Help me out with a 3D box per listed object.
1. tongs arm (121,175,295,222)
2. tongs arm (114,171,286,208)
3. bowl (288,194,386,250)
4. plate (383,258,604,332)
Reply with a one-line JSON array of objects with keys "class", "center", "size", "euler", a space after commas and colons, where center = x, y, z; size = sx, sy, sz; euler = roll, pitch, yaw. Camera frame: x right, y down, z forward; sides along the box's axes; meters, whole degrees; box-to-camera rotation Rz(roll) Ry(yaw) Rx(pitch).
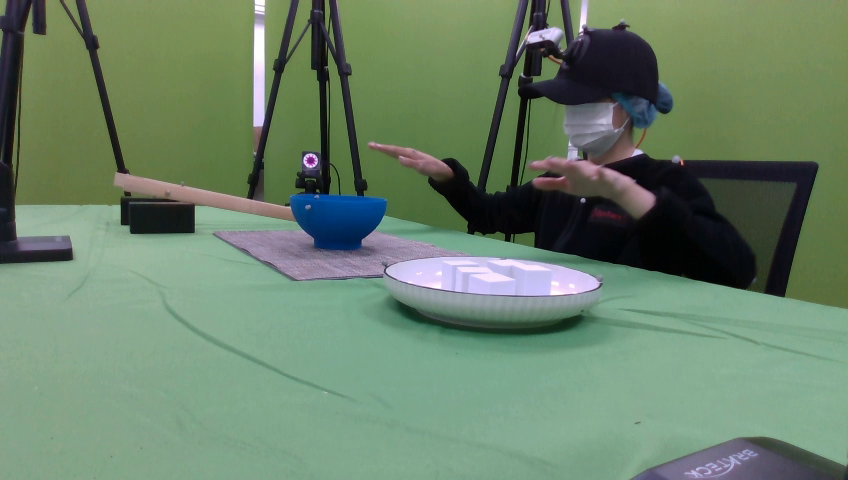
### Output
[{"class": "tongs arm", "center": [-0.347, -0.066, 1.108], "size": [0.390, 0.027, 0.028], "euler": [11, -3, -42]}, {"class": "tongs arm", "center": [-0.394, -0.078, 1.183], "size": [0.387, 0.026, 0.050], "euler": [12, 0, -27]}, {"class": "bowl", "center": [-0.135, -0.027, 0.936], "size": [0.151, 0.077, 0.151], "euler": [3, 7, 0]}, {"class": "plate", "center": [0.064, 0.051, 0.582], "size": [0.209, 0.038, 0.209], "euler": [3, 7, 0]}]
